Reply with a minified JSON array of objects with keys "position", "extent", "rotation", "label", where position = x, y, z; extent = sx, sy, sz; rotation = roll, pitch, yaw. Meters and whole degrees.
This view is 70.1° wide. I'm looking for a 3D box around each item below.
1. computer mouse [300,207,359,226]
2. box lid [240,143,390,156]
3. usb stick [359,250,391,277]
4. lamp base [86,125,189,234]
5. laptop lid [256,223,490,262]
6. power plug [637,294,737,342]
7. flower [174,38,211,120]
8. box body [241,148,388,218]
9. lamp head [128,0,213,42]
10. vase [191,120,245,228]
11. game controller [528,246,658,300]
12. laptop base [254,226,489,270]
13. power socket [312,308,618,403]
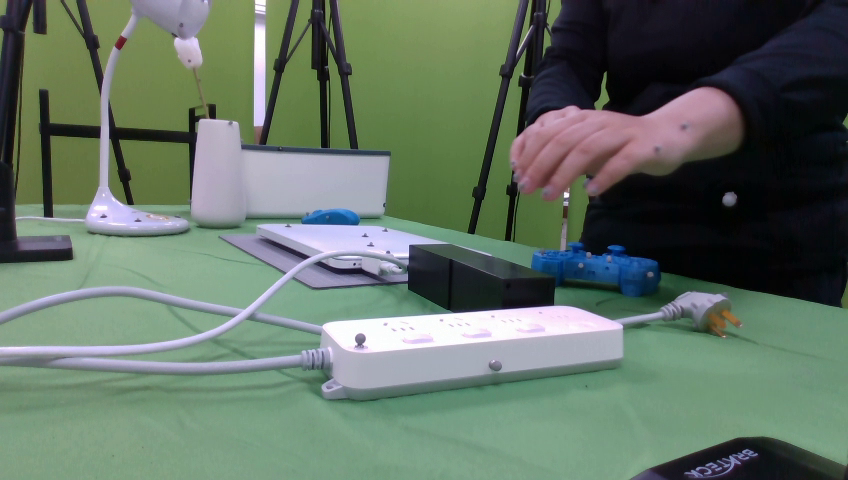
[{"position":[-0.194,-0.046,1.241],"extent":[0.117,0.041,0.063],"rotation":[0,10,11],"label":"computer mouse"},{"position":[-0.295,-0.217,1.463],"extent":[0.373,0.015,0.262],"rotation":[-1,8,-30],"label":"box lid"},{"position":[-0.061,0.027,0.708],"extent":[0.021,0.027,0.059],"rotation":[0,4,-30],"label":"usb stick"},{"position":[-0.497,-0.105,1.027],"extent":[0.179,0.180,0.160],"rotation":[1,7,3],"label":"lamp base"},{"position":[-0.093,0.000,0.911],"extent":[0.243,0.013,0.355],"rotation":[1,7,-30],"label":"laptop lid"},{"position":[0.235,0.078,0.538],"extent":[0.072,0.035,0.052],"rotation":[-34,41,0],"label":"power plug"},{"position":[-0.401,-0.207,1.141],"extent":[0.038,0.361,0.044],"rotation":[-14,3,44],"label":"flower"},{"position":[-0.297,-0.143,1.474],"extent":[0.366,0.160,0.253],"rotation":[-1,9,-30],"label":"box body"},{"position":[-0.423,-0.394,0.980],"extent":[0.123,0.112,0.112],"rotation":[20,7,-3],"label":"lamp head"},{"position":[-0.389,-0.124,1.142],"extent":[0.098,0.200,0.098],"rotation":[3,9,0],"label":"vase"},{"position":[0.202,0.036,0.732],"extent":[0.155,0.051,0.097],"rotation":[5,10,19],"label":"game controller"},{"position":[-0.096,0.011,0.912],"extent":[0.237,0.023,0.352],"rotation":[2,6,-32],"label":"laptop base"},{"position":[0.034,0.074,0.416],"extent":[0.228,0.032,0.072],"rotation":[-1,8,-24],"label":"power socket"}]
